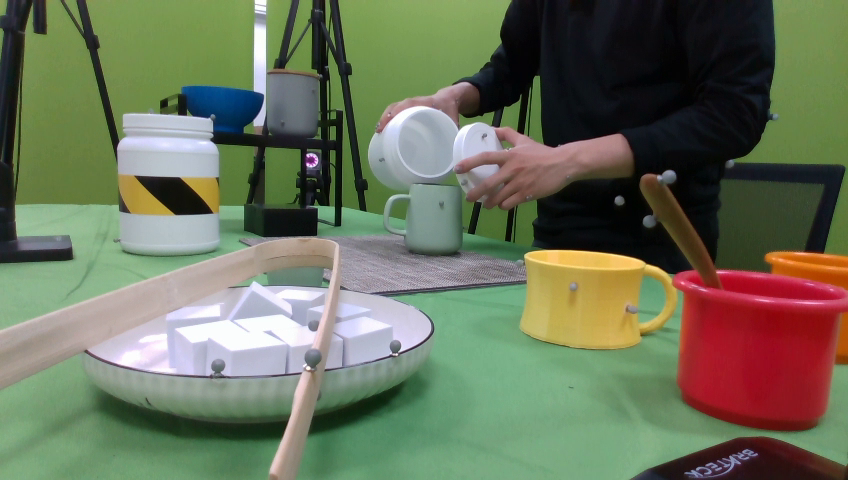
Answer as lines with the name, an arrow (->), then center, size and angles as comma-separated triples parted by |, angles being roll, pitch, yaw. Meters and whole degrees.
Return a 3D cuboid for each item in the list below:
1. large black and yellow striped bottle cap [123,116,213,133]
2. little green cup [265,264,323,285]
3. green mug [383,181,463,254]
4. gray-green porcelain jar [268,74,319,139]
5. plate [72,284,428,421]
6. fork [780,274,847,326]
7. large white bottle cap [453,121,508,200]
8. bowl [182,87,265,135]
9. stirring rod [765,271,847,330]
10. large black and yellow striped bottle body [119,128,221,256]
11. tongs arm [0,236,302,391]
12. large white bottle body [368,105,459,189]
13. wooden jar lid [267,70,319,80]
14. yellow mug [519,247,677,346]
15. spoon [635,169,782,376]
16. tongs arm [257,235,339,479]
large black and yellow striped bottle cap -> -0.353, -0.159, 0.838 | 0.115, 0.019, 0.115 | 2, 6, 0
little green cup -> -0.134, 0.033, 0.628 | 0.061, 0.038, 0.061 | 3, 7, 0
green mug -> -0.001, -0.036, 0.922 | 0.126, 0.105, 0.092 | 0, 8, -16
gray-green porcelain jar -> -0.277, -0.279, 1.280 | 0.106, 0.126, 0.106 | 2, 8, 0
plate -> -0.102, 0.067, 0.381 | 0.208, 0.039, 0.207 | 3, 7, 0
fork -> 0.332, 0.019, 0.443 | 0.028, 0.018, 0.207 | -3, -35, -16
large white bottle cap -> 0.083, -0.114, 0.875 | 0.018, 0.114, 0.115 | -7, 0, 41
bowl -> -0.383, -0.243, 1.158 | 0.151, 0.077, 0.151 | 2, 7, 0
stirring rod -> 0.352, 0.020, 0.481 | 0.176, 0.006, 0.014 | -40, -8, 17
large black and yellow striped bottle body -> -0.355, -0.076, 0.850 | 0.131, 0.184, 0.130 | 2, 8, 0
tongs arm -> -0.157, 0.037, 0.347 | 0.028, 0.028, 0.388 | -2, 8, 11
large white bottle body -> -0.017, -0.155, 1.022 | 0.131, 0.130, 0.184 | 0, 2, -16
wooden jar lid -> -0.275, -0.339, 1.271 | 0.108, 0.020, 0.108 | 5, 6, 0
yellow mug -> 0.148, 0.045, 0.513 | 0.131, 0.064, 0.100 | 3, 7, 0
spoon -> 0.161, 0.026, 0.346 | 0.021, 0.194, 0.041 | -51, 32, -20
tongs arm -> -0.074, 0.040, 0.345 | 0.051, 0.026, 0.384 | -1, 10, -3
